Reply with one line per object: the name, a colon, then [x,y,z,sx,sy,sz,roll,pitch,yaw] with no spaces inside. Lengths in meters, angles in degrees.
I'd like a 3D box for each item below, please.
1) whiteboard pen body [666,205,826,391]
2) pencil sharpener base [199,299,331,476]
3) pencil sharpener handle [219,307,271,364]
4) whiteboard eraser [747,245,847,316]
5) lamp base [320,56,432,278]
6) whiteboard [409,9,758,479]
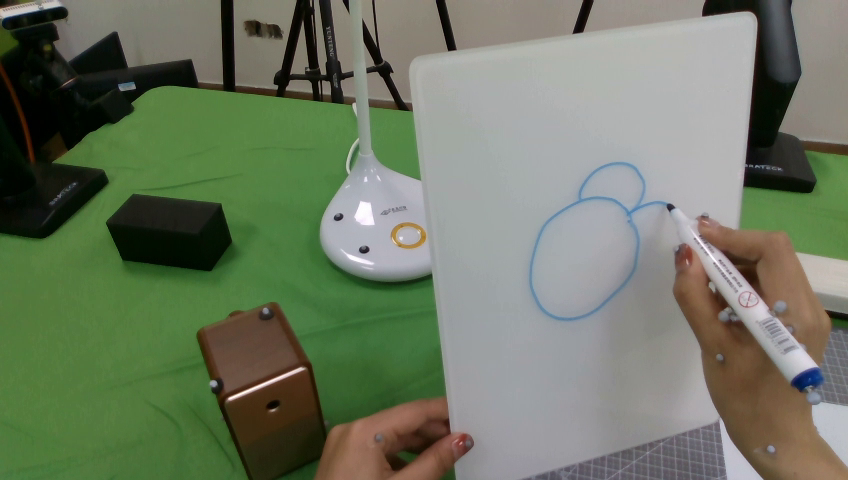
whiteboard pen body: [0.173,0.024,0.341,0.017,0.017,0.139,-10,44,-9]
pencil sharpener base: [-0.115,0.108,0.445,0.061,0.108,0.076,-21,44,-21]
pencil sharpener handle: [-0.139,0.069,0.471,0.036,0.068,0.030,-27,46,-15]
whiteboard eraser: [0.364,0.040,0.564,0.112,0.042,0.055,10,40,14]
lamp base: [-0.039,-0.081,0.610,0.161,0.182,0.177,-24,43,-25]
whiteboard: [0.098,0.002,0.455,0.217,0.307,0.142,-11,22,-10]
